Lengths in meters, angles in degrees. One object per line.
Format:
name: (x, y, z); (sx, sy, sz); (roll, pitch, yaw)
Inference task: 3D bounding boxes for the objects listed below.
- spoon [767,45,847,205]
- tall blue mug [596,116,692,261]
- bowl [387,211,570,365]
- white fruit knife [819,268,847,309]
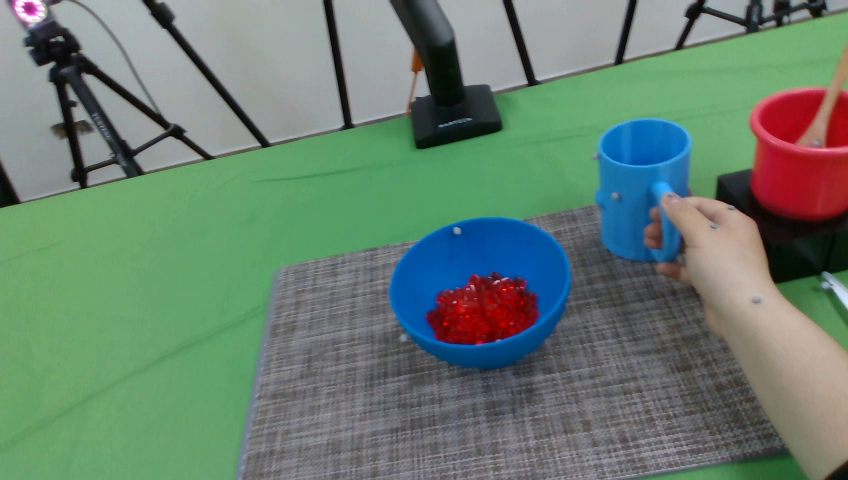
spoon: (0.339, -0.119, 0.500); (0.041, 0.022, 0.194); (28, 101, 41)
tall blue mug: (0.210, -0.041, 0.550); (0.078, 0.109, 0.106); (-29, 42, -16)
bowl: (0.051, 0.054, 0.518); (0.151, 0.077, 0.150); (-9, 41, 8)
white fruit knife: (0.347, 0.089, 0.440); (0.027, 0.016, 0.205); (10, 37, -12)
